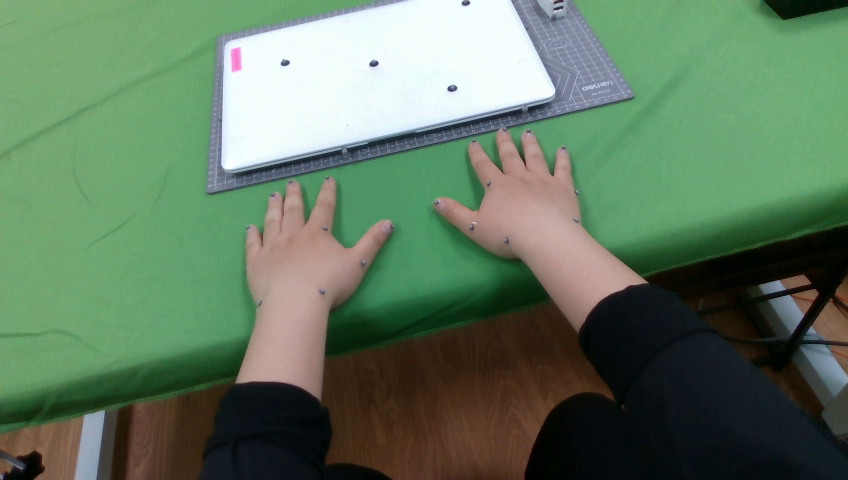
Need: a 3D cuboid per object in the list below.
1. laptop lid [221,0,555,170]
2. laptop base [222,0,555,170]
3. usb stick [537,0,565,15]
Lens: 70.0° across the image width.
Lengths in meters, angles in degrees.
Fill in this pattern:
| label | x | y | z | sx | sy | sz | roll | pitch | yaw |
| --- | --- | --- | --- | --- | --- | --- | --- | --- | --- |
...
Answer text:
| label | x | y | z | sx | sy | sz | roll | pitch | yaw |
| --- | --- | --- | --- | --- | --- | --- | --- | --- | --- |
| laptop lid | -0.056 | -0.199 | 0.683 | 0.357 | 0.013 | 0.239 | -12 | 53 | 0 |
| laptop base | -0.054 | -0.194 | 0.693 | 0.354 | 0.023 | 0.233 | -13 | 54 | -1 |
| usb stick | 0.150 | -0.300 | 0.735 | 0.021 | 0.027 | 0.058 | -17 | 48 | -3 |
